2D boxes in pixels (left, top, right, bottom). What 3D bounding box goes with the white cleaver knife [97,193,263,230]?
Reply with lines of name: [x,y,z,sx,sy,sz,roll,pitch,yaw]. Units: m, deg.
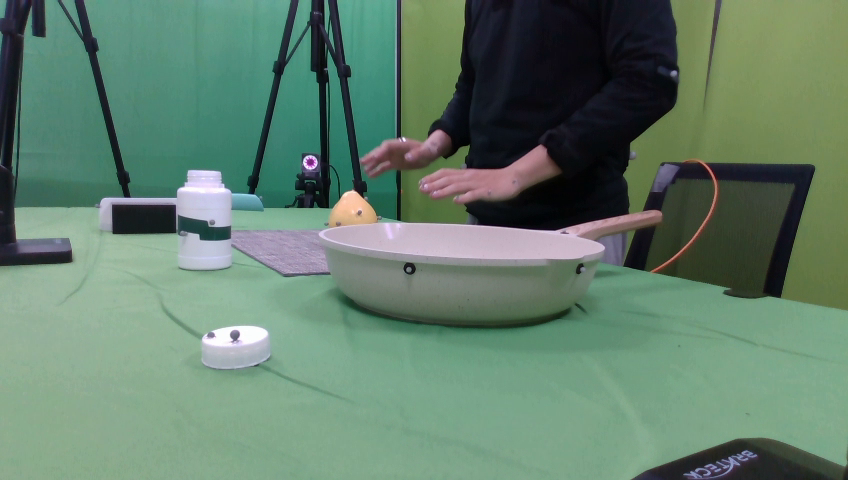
white cleaver knife: [-0.444,-0.053,1.121,0.288,0.066,0.021,-4,16,-27]

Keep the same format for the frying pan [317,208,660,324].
frying pan: [0.121,0.006,0.691,0.490,0.102,0.305,-13,15,-33]

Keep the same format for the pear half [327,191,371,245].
pear half: [-0.124,-0.037,0.976,0.071,0.088,0.031,-6,11,-26]

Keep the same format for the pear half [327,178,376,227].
pear half: [-0.110,-0.041,0.942,0.077,0.110,0.055,-7,10,-25]

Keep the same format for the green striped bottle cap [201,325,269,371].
green striped bottle cap: [-0.129,0.073,0.415,0.044,0.020,0.044,2,8,0]

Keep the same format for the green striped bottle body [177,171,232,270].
green striped bottle body: [-0.273,-0.026,0.752,0.063,0.119,0.063,2,7,0]
